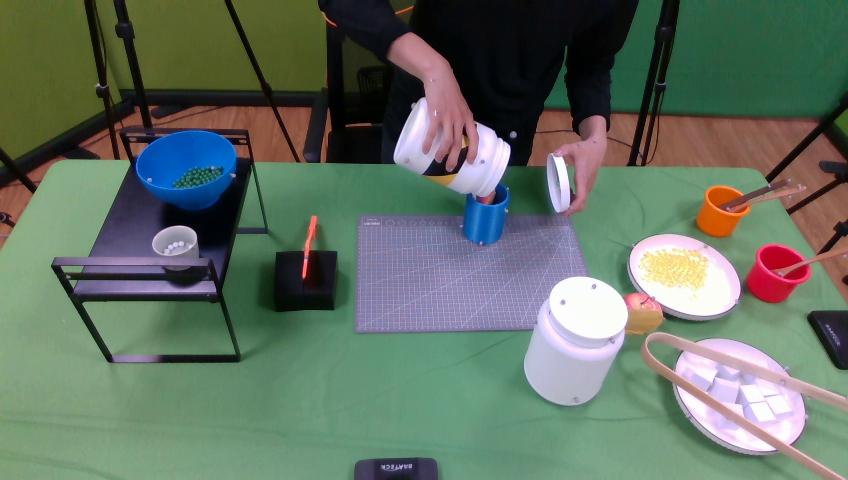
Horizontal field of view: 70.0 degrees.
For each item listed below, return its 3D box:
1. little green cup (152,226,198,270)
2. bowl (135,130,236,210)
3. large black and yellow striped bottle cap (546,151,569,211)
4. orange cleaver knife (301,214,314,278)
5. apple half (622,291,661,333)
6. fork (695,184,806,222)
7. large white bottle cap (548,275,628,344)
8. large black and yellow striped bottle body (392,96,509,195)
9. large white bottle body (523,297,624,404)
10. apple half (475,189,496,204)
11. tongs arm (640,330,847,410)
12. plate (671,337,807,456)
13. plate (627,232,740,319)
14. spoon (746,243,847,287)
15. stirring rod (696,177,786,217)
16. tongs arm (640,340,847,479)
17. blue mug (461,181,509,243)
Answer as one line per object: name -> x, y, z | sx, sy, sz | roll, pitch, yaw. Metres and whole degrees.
little green cup -> -0.364, 0.013, 0.895 | 0.061, 0.039, 0.061 | 3, 46, -3
bowl -> -0.375, -0.102, 0.978 | 0.151, 0.077, 0.150 | 2, 46, -2
large black and yellow striped bottle cap -> 0.254, -0.113, 1.157 | 0.019, 0.115, 0.114 | -9, 47, 2
orange cleaver knife -> -0.218, 0.008, 1.131 | 0.012, 0.077, 0.210 | 6, 19, -9
apple half -> 0.372, 0.124, 1.074 | 0.081, 0.075, 0.053 | 0, 42, 1
fork -> 0.658, -0.074, 1.230 | 0.207, 0.019, 0.028 | -24, 33, 36
large white bottle cap -> 0.240, 0.100, 0.890 | 0.115, 0.018, 0.114 | 3, 47, -3
large black and yellow striped bottle body -> 0.048, -0.165, 1.097 | 0.184, 0.131, 0.130 | 23, 45, -13
large white bottle body -> 0.235, 0.159, 0.952 | 0.131, 0.185, 0.130 | 2, 47, -2
apple half -> 0.110, -0.067, 1.199 | 0.033, 0.081, 0.081 | 28, 50, 10
tongs arm -> 0.543, 0.225, 0.969 | 0.384, 0.026, 0.050 | 22, 52, 13
plate -> 0.504, 0.254, 0.984 | 0.208, 0.039, 0.206 | 2, 46, -2
plate -> 0.489, 0.070, 1.156 | 0.209, 0.038, 0.208 | 3, 46, -3
spoon -> 0.702, 0.044, 1.126 | 0.194, 0.022, 0.041 | -29, 38, 30
stirring rod -> 0.648, -0.087, 1.244 | 0.176, 0.006, 0.014 | -25, 50, 29
tongs arm -> 0.500, 0.277, 0.919 | 0.386, 0.028, 0.028 | 34, 59, 22
blue mug -> 0.114, -0.070, 1.210 | 0.082, 0.106, 0.115 | -12, 48, -15
